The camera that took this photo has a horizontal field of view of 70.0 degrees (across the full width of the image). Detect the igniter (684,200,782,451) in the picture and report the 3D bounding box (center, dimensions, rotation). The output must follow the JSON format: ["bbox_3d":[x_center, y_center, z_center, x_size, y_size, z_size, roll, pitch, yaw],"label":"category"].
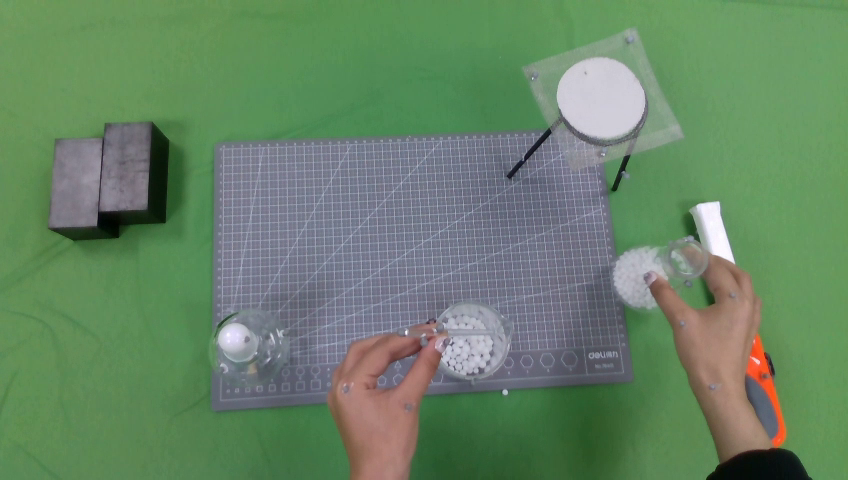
[{"bbox_3d":[0.342,0.089,0.671,0.057,0.025,0.275,-7,77,-15],"label":"igniter"}]

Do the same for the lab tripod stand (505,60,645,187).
[{"bbox_3d":[0.166,-0.118,0.655,0.148,0.132,0.147,1,78,-4],"label":"lab tripod stand"}]

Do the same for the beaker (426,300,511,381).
[{"bbox_3d":[0.041,0.103,0.613,0.084,0.100,0.073,-21,79,-8],"label":"beaker"}]

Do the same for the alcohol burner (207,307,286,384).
[{"bbox_3d":[-0.177,0.101,0.594,0.078,0.119,0.077,1,75,-4],"label":"alcohol burner"}]

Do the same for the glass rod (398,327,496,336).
[{"bbox_3d":[0.027,0.078,0.519,0.008,0.201,0.008,-4,81,26],"label":"glass rod"}]

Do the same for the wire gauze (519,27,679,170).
[{"bbox_3d":[0.171,-0.138,0.591,0.125,0.011,0.121,-19,80,-7],"label":"wire gauze"}]

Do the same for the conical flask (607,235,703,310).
[{"bbox_3d":[0.235,0.027,0.605,0.075,0.122,0.075,0,78,1],"label":"conical flask"}]

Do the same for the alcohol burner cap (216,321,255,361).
[{"bbox_3d":[-0.175,0.091,0.559,0.034,0.048,0.033,3,68,-8],"label":"alcohol burner cap"}]
